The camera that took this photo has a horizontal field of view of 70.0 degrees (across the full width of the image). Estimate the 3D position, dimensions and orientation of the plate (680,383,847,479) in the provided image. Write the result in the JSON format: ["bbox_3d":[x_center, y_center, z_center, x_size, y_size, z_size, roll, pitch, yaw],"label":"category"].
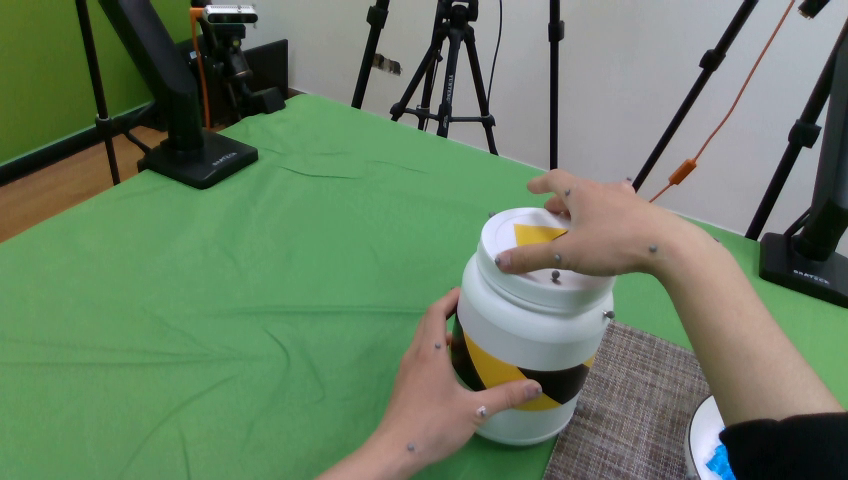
[{"bbox_3d":[0.325,0.216,0.526,0.208,0.039,0.205,6,36,-4],"label":"plate"}]

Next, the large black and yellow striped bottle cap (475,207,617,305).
[{"bbox_3d":[0.100,0.009,0.496,0.115,0.019,0.114,6,34,-4],"label":"large black and yellow striped bottle cap"}]

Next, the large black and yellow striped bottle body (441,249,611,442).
[{"bbox_3d":[0.090,0.077,0.547,0.131,0.185,0.129,5,36,-4],"label":"large black and yellow striped bottle body"}]
